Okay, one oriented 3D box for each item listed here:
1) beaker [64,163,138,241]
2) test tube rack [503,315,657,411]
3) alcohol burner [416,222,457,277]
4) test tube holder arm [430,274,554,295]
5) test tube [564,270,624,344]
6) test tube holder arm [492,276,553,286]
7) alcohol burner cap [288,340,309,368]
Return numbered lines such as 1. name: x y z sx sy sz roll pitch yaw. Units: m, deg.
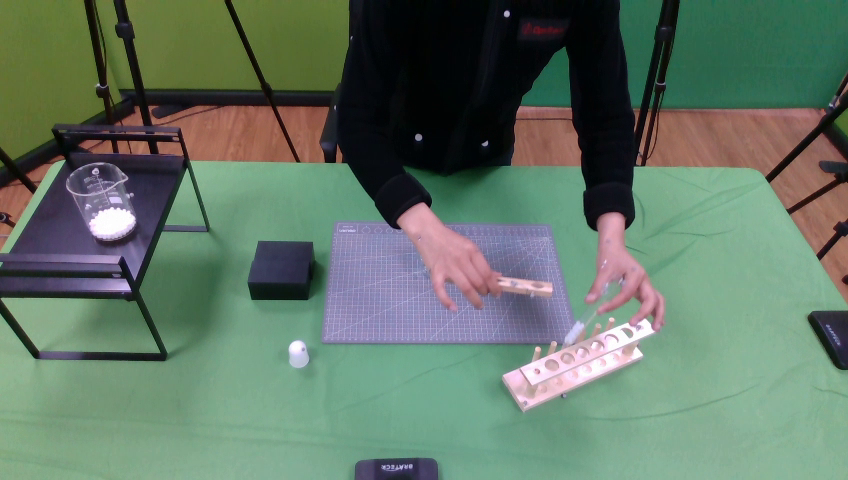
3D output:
1. beaker: -0.477 -0.055 0.910 0.084 0.101 0.073 -9 48 -13
2. test tube rack: 0.253 0.186 0.988 0.242 0.085 0.066 -18 50 -20
3. alcohol burner: 0.024 0.014 1.115 0.078 0.120 0.077 1 45 -1
4. test tube holder arm: 0.097 0.064 0.876 0.178 0.015 0.013 5 40 -1
5. test tube: 0.243 0.100 0.878 0.017 0.150 0.017 16 37 -12
6. test tube holder arm: 0.143 0.064 0.880 0.088 0.015 0.010 6 40 1
7. alcohol burner cap: -0.207 0.183 0.991 0.034 0.048 0.033 2 48 -2
